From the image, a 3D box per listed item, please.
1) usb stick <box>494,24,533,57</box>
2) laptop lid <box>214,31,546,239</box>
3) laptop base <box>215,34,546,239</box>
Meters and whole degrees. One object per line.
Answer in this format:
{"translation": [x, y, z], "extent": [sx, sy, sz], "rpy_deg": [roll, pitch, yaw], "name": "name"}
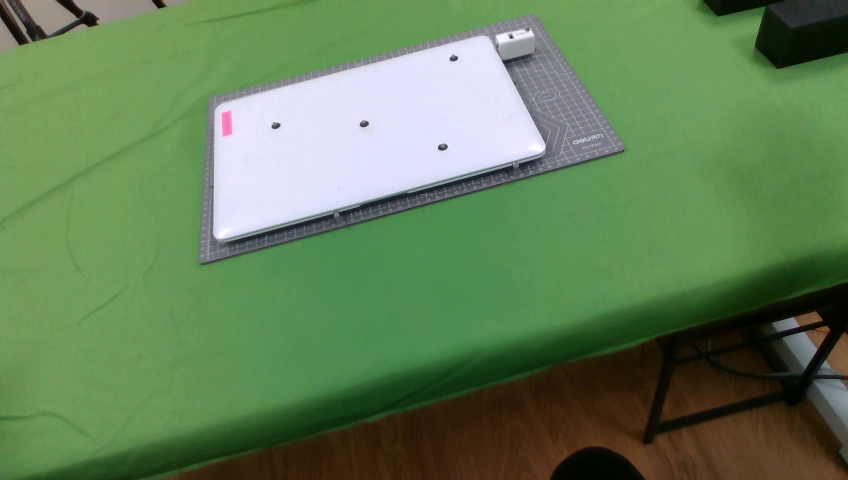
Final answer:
{"translation": [0.102, -0.242, 0.741], "extent": [0.059, 0.027, 0.021], "rpy_deg": [-16, 48, 1], "name": "usb stick"}
{"translation": [-0.067, -0.132, 0.683], "extent": [0.357, 0.013, 0.239], "rpy_deg": [-14, 51, 0], "name": "laptop lid"}
{"translation": [-0.065, -0.126, 0.694], "extent": [0.354, 0.023, 0.233], "rpy_deg": [-16, 52, -1], "name": "laptop base"}
